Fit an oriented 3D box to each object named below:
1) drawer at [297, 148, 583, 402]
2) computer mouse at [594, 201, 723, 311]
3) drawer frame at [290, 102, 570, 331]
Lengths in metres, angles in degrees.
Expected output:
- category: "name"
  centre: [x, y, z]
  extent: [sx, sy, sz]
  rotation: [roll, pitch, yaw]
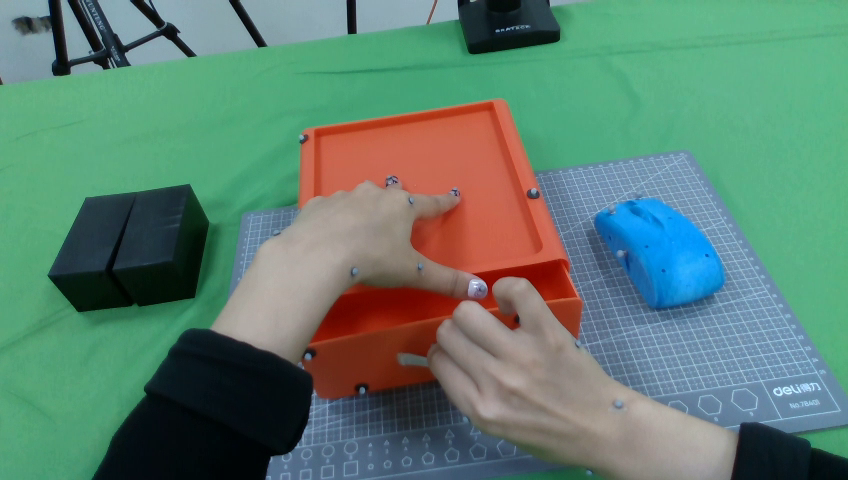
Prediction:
- category: "drawer"
  centre: [0.002, 0.012, 0.493]
  extent: [0.194, 0.074, 0.209]
  rotation: [-10, 45, 0]
- category: "computer mouse"
  centre: [0.191, 0.006, 0.501]
  extent: [0.063, 0.041, 0.116]
  rotation: [-16, 41, -4]
- category: "drawer frame"
  centre: [-0.004, -0.015, 0.518]
  extent: [0.202, 0.083, 0.211]
  rotation: [-10, 45, -1]
